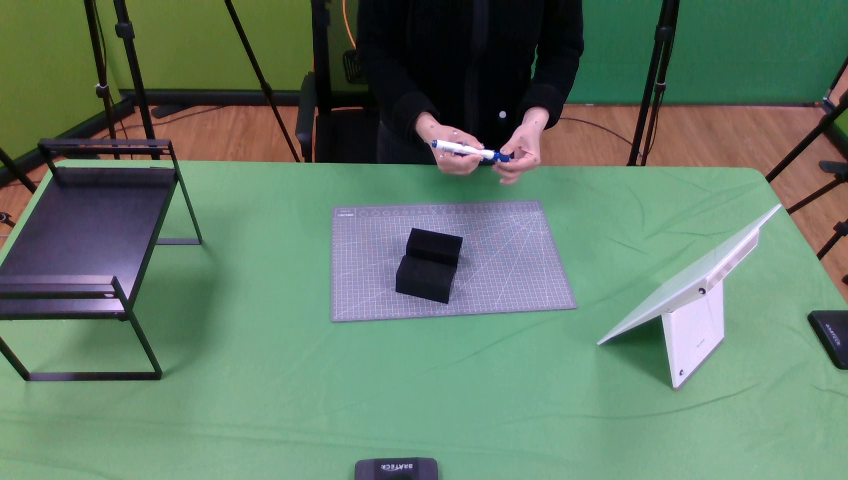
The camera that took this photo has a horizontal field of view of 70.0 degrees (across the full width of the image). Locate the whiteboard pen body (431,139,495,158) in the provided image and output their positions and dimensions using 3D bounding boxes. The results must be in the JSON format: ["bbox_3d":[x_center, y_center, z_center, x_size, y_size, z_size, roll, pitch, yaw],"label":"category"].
[{"bbox_3d":[0.080,-0.161,1.081,0.141,0.017,0.017,8,44,-18],"label":"whiteboard pen body"}]

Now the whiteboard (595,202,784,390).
[{"bbox_3d":[0.459,0.112,0.968,0.217,0.306,0.143,-31,75,-29],"label":"whiteboard"}]

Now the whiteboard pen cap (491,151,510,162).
[{"bbox_3d":[0.137,-0.152,1.101,0.033,0.018,0.018,6,45,-15],"label":"whiteboard pen cap"}]
